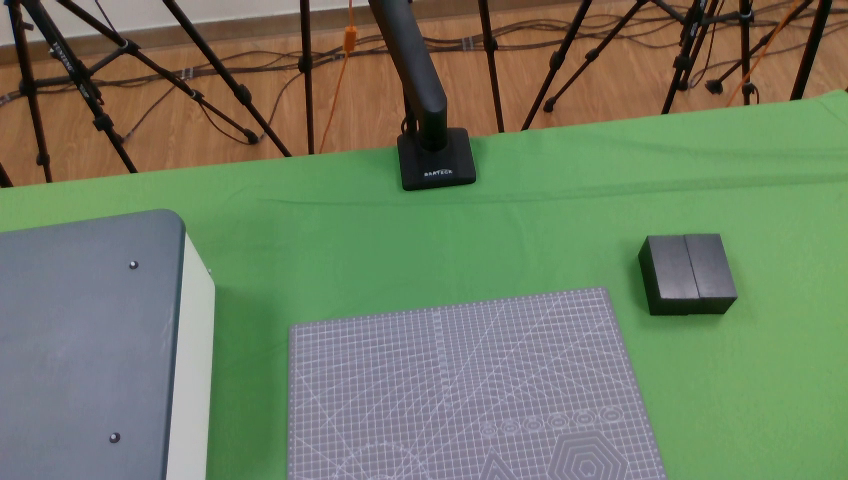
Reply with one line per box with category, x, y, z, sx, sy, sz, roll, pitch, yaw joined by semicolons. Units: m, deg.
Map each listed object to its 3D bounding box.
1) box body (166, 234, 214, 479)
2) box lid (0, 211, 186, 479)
box body;-0.400;0.172;0.723;0.254;0.162;0.360;-8;57;-3
box lid;-0.403;0.129;0.662;0.263;0.015;0.367;-8;58;-3
